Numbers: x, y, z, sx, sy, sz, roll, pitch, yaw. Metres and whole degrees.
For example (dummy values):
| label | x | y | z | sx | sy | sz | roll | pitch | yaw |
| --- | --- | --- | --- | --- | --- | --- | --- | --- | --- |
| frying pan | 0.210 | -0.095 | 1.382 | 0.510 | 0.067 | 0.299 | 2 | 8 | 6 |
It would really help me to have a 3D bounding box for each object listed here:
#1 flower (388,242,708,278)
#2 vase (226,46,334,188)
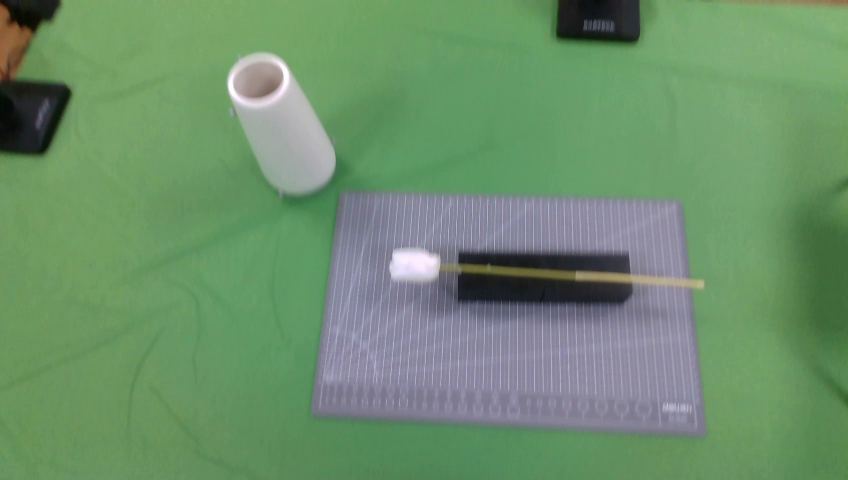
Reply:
| label | x | y | z | sx | sy | sz | roll | pitch | yaw |
| --- | --- | --- | --- | --- | --- | --- | --- | --- | --- |
| flower | 0.137 | 0.030 | 0.699 | 0.361 | 0.038 | 0.043 | 3 | 35 | 8 |
| vase | -0.172 | -0.145 | 0.742 | 0.098 | 0.201 | 0.097 | -1 | 67 | 3 |
